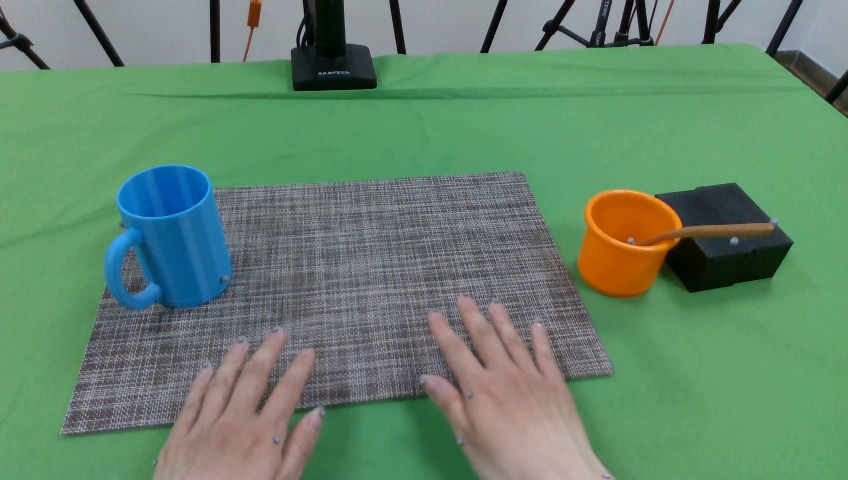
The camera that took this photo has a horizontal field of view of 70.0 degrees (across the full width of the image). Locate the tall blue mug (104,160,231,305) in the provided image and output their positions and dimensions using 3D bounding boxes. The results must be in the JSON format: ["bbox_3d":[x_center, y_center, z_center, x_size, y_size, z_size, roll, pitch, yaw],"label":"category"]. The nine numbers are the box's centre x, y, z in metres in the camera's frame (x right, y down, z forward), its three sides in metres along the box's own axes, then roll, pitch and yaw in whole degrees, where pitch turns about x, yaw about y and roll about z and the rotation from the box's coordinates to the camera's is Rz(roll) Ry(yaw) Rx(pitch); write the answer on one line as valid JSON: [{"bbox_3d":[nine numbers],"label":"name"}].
[{"bbox_3d":[-0.223,0.004,0.538,0.078,0.109,0.106,2,43,-3],"label":"tall blue mug"}]

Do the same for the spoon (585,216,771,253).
[{"bbox_3d":[0.224,-0.007,0.560,0.042,0.193,0.021,-21,92,-28],"label":"spoon"}]
